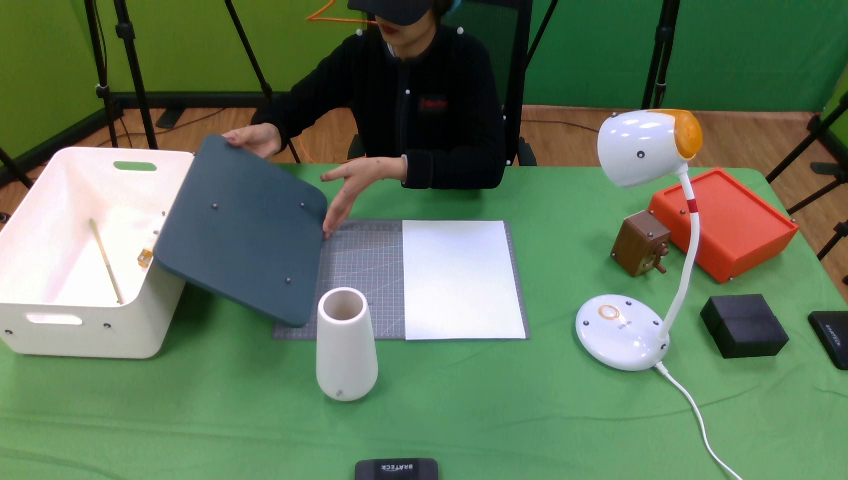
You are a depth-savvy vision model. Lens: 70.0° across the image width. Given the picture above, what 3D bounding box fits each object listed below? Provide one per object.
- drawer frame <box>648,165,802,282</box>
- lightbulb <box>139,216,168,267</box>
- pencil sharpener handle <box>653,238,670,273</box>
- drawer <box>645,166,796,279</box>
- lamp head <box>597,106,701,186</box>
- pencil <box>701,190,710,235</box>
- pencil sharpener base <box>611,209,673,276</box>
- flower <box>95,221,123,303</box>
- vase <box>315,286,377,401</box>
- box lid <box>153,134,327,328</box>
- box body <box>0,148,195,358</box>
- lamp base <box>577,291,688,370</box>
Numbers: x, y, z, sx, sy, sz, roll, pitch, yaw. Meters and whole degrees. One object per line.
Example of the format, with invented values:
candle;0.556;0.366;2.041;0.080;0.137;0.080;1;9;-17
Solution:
drawer frame;0.603;-0.040;1.233;0.202;0.083;0.212;-21;51;-23
lightbulb;-0.495;0.003;1.131;0.059;0.060;0.107;18;63;14
pencil sharpener handle;0.444;0.030;1.120;0.036;0.068;0.030;-25;52;-18
drawer;0.600;-0.041;1.236;0.195;0.073;0.210;-21;51;-23
lamp head;0.329;-0.138;0.865;0.112;0.113;0.122;-36;20;-32
pencil;0.584;-0.059;1.256;0.012;0.012;0.193;16;34;11
pencil sharpener base;0.416;0.007;1.158;0.061;0.107;0.076;-21;51;-22
flower;-0.558;0.069;1.088;0.044;0.038;0.359;-26;48;-17
vase;-0.119;0.159;0.911;0.098;0.201;0.097;2;47;-2
box lid;-0.297;-0.030;1.059;0.264;0.015;0.369;30;33;-25
box body;-0.545;0.017;1.045;0.254;0.161;0.361;2;46;-2
lamp base;0.361;0.110;1.003;0.160;0.181;0.178;-31;57;-28
